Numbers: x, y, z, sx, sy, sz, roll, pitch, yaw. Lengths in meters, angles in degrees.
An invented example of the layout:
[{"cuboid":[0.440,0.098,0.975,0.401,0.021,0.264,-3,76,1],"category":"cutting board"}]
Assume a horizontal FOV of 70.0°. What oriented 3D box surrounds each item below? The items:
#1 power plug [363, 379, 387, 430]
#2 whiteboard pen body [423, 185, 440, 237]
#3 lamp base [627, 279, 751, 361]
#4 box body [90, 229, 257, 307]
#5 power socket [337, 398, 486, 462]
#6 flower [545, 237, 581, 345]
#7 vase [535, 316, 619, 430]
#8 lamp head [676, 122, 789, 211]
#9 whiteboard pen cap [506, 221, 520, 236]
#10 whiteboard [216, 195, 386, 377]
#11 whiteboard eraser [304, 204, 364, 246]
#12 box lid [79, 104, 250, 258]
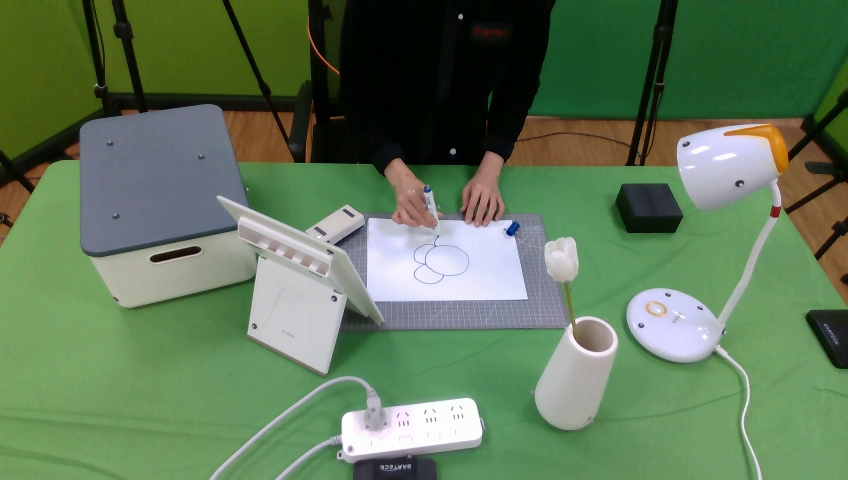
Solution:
[{"cuboid":[-0.072,0.252,0.911,0.035,0.053,0.072,3,40,0],"category":"power plug"},{"cuboid":[0.017,-0.053,1.164,0.017,0.141,0.017,-6,49,8],"category":"whiteboard pen body"},{"cuboid":[0.460,0.100,1.027,0.178,0.181,0.160,27,51,17],"category":"lamp base"},{"cuboid":[-0.471,-0.070,1.131,0.254,0.161,0.361,-14,49,-17],"category":"box body"},{"cuboid":[-0.018,0.285,0.914,0.227,0.033,0.071,-4,46,-8],"category":"power socket"},{"cuboid":[0.213,0.137,0.846,0.038,0.364,0.044,22,55,40],"category":"flower"},{"cuboid":[0.229,0.200,0.901,0.098,0.201,0.097,3,46,-3],"category":"vase"},{"cuboid":[0.423,-0.104,0.819,0.122,0.113,0.112,-13,33,40],"category":"lamp head"},{"cuboid":[0.180,-0.023,1.233,0.018,0.018,0.033,27,52,20],"category":"whiteboard pen cap"},{"cuboid":[-0.212,0.093,0.939,0.216,0.307,0.143,24,70,17],"category":"whiteboard"},{"cuboid":[-0.175,-0.022,1.188,0.055,0.042,0.112,36,53,26],"category":"whiteboard eraser"},{"cuboid":[-0.467,-0.121,1.075,0.264,0.015,0.369,-13,49,-17],"category":"box lid"}]
